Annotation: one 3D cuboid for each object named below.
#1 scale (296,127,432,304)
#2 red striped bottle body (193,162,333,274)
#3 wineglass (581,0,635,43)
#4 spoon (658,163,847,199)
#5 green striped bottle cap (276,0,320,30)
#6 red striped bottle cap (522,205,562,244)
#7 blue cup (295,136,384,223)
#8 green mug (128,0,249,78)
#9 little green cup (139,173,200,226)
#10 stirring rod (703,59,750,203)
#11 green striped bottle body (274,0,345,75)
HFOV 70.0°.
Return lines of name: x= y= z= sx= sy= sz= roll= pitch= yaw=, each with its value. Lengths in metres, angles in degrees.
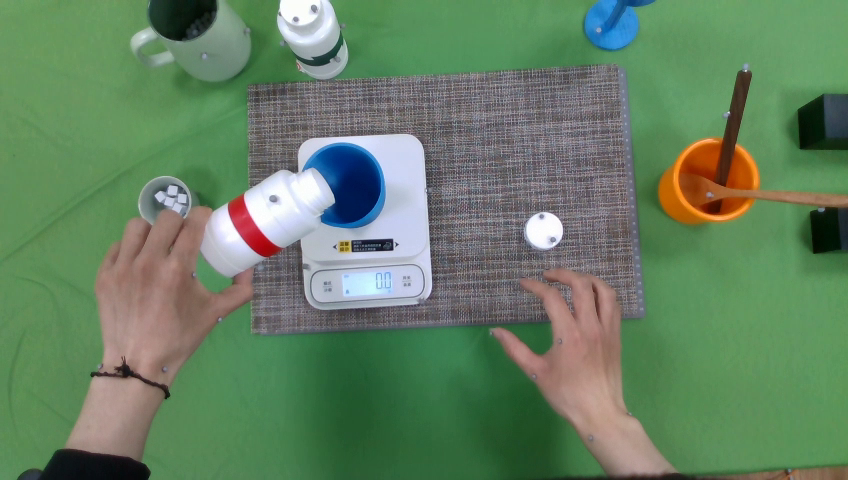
scale: x=-0.070 y=-0.029 z=0.703 sx=0.148 sy=0.031 sz=0.200 roll=-4 pitch=85 yaw=1
red striped bottle body: x=-0.143 y=-0.024 z=0.555 sx=0.119 sy=0.063 sz=0.063 roll=-31 pitch=84 yaw=6
wineglass: x=0.219 y=-0.280 z=0.652 sx=0.074 sy=0.172 sz=0.073 roll=0 pitch=84 yaw=2
spoon: x=0.342 y=-0.058 z=0.640 sx=0.022 sy=0.192 sz=0.041 roll=9 pitch=92 yaw=-41
green striped bottle cap: x=-0.131 y=-0.245 z=0.632 sx=0.044 sy=0.020 sz=0.044 roll=0 pitch=84 yaw=1
red striped bottle cap: x=0.137 y=-0.019 z=0.704 sx=0.044 sy=0.018 sz=0.044 roll=0 pitch=82 yaw=-3
blue cup: x=-0.080 y=-0.056 z=0.641 sx=0.092 sy=0.100 sz=0.092 roll=0 pitch=87 yaw=1
green mug: x=-0.274 y=-0.237 z=0.695 sx=0.125 sy=0.105 sz=0.092 roll=-25 pitch=84 yaw=-1
little green cup: x=-0.295 y=-0.045 z=0.710 sx=0.061 sy=0.039 sz=0.061 roll=0 pitch=84 yaw=0
stirring rod: x=0.320 y=-0.109 z=0.646 sx=0.014 sy=0.178 sz=0.006 roll=4 pitch=44 yaw=15
green striped bottle body: x=-0.129 y=-0.238 z=0.684 sx=0.063 sy=0.119 sz=0.063 roll=0 pitch=84 yaw=2
